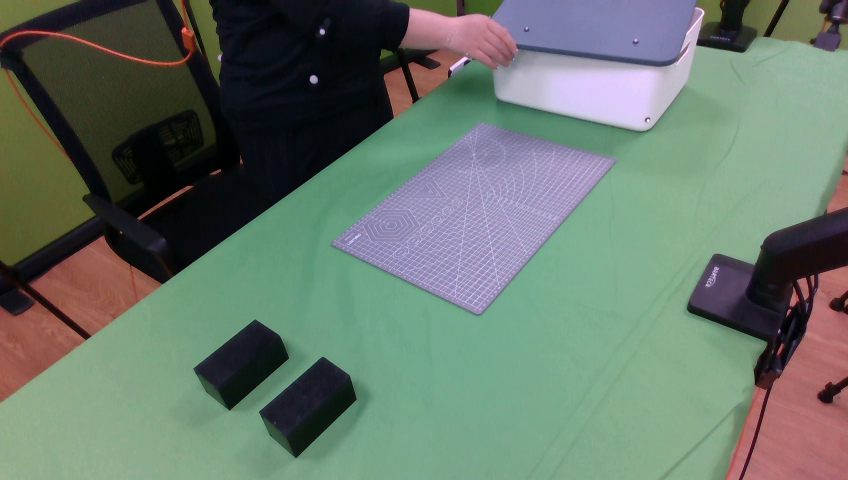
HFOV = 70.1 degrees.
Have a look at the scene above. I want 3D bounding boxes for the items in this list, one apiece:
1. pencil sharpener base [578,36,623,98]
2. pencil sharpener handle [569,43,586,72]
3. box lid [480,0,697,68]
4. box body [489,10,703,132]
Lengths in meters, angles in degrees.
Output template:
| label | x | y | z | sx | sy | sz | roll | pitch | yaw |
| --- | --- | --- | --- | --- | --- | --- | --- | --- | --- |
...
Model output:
| label | x | y | z | sx | sy | sz | roll | pitch | yaw |
| --- | --- | --- | --- | --- | --- | --- | --- | --- | --- |
| pencil sharpener base | 0.366 | -0.362 | 1.266 | 0.076 | 0.107 | 0.061 | 19 | 47 | 28 |
| pencil sharpener handle | 0.323 | -0.388 | 1.282 | 0.030 | 0.068 | 0.036 | 19 | 57 | 28 |
| box lid | 0.321 | -0.427 | 1.173 | 0.369 | 0.015 | 0.263 | 15 | 52 | 21 |
| box body | 0.346 | -0.374 | 1.251 | 0.361 | 0.161 | 0.255 | 21 | 48 | 29 |
